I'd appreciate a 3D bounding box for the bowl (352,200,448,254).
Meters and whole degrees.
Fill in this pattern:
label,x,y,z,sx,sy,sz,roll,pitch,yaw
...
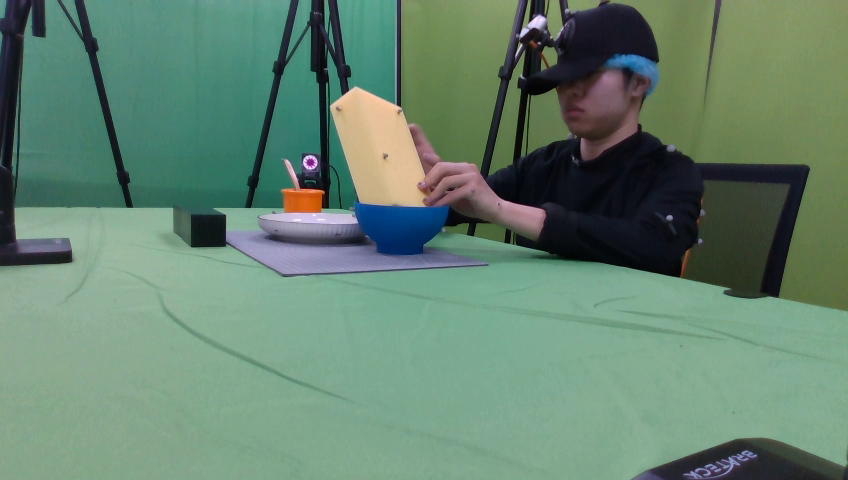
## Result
label,x,y,z,sx,sy,sz,roll,pitch,yaw
bowl,-0.038,-0.021,0.946,0.151,0.077,0.151,2,7,0

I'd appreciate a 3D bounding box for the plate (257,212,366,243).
label,x,y,z,sx,sy,sz,roll,pitch,yaw
plate,-0.189,-0.023,1.072,0.209,0.038,0.209,3,7,0

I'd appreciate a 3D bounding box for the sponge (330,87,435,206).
label,x,y,z,sx,sy,sz,roll,pitch,yaw
sponge,-0.064,-0.126,0.960,0.060,0.206,0.119,-29,-20,29

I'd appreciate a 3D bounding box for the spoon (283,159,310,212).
label,x,y,z,sx,sy,sz,roll,pitch,yaw
spoon,-0.279,-0.111,1.324,0.042,0.193,0.021,3,-39,-35
